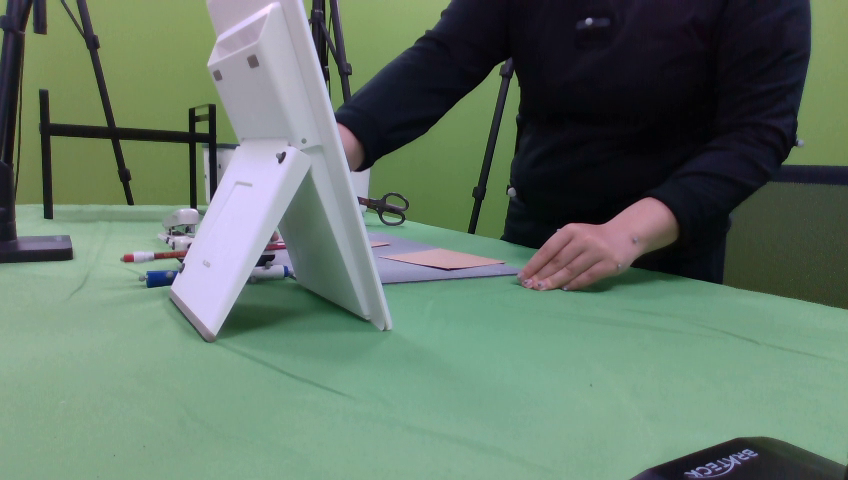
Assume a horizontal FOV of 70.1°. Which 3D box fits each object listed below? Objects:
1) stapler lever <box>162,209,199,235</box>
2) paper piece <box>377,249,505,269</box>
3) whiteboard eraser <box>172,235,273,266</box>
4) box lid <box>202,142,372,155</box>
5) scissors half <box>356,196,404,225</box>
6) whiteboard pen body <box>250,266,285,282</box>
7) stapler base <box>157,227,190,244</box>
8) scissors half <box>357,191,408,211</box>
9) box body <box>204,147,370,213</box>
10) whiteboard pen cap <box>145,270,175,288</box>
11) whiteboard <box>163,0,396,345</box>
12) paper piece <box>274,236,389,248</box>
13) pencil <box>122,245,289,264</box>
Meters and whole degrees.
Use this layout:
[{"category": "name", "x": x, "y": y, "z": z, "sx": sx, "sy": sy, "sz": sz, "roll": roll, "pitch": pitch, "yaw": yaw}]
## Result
[{"category": "stapler lever", "x": -0.377, "y": -0.031, "z": 0.932, "sx": 0.027, "sy": 0.040, "sz": 0.117, "roll": 0, "pitch": 7, "yaw": -38}, {"category": "paper piece", "x": 0.025, "y": 0.026, "z": 0.865, "sx": 0.134, "sy": 0.004, "sz": 0.136, "roll": 10, "pitch": 10, "yaw": 43}, {"category": "whiteboard eraser", "x": -0.248, "y": 0.014, "z": 0.747, "sx": 0.113, "sy": 0.042, "sz": 0.055, "roll": -1, "pitch": 9, "yaw": -32}, {"category": "box lid", "x": -0.344, "y": -0.225, "z": 1.509, "sx": 0.373, "sy": 0.015, "sz": 0.262, "roll": -2, "pitch": 8, "yaw": -31}, {"category": "scissors half", "x": -0.127, "y": -0.072, "z": 1.322, "sx": 0.175, "sy": 0.040, "sz": 0.013, "roll": 22, "pitch": 8, "yaw": -5}, {"category": "whiteboard pen body", "x": -0.219, "y": 0.039, "z": 0.655, "sx": 0.141, "sy": 0.017, "sz": 0.017, "roll": -1, "pitch": 9, "yaw": -32}, {"category": "stapler base", "x": -0.376, "y": -0.007, "z": 0.934, "sx": 0.041, "sy": 0.024, "sz": 0.130, "roll": 0, "pitch": 5, "yaw": -38}, {"category": "scissors half", "x": -0.122, "y": -0.091, "z": 1.317, "sx": 0.175, "sy": 0.040, "sz": 0.013, "roll": 5, "pitch": 15, "yaw": -2}, {"category": "box body", "x": -0.346, "y": -0.152, "z": 1.519, "sx": 0.366, "sy": 0.160, "sz": 0.253, "roll": -2, "pitch": 9, "yaw": -31}, {"category": "whiteboard pen cap", "x": -0.271, "y": 0.039, "z": 0.627, "sx": 0.033, "sy": 0.018, "sz": 0.018, "roll": -4, "pitch": 10, "yaw": -33}, {"category": "whiteboard", "x": -0.173, "y": -0.053, "z": 0.510, "sx": 0.144, "sy": 0.305, "sz": 0.216, "roll": -23, "pitch": 19, "yaw": -26}, {"category": "paper piece", "x": -0.151, "y": 0.003, "z": 0.978, "sx": 0.135, "sy": 0.008, "sz": 0.139, "roll": 13, "pitch": 10, "yaw": 34}, {"category": "pencil", "x": -0.230, "y": 0.014, "z": 0.677, "sx": 0.195, "sy": 0.012, "sz": 0.012, "roll": -4, "pitch": 10, "yaw": -31}]
